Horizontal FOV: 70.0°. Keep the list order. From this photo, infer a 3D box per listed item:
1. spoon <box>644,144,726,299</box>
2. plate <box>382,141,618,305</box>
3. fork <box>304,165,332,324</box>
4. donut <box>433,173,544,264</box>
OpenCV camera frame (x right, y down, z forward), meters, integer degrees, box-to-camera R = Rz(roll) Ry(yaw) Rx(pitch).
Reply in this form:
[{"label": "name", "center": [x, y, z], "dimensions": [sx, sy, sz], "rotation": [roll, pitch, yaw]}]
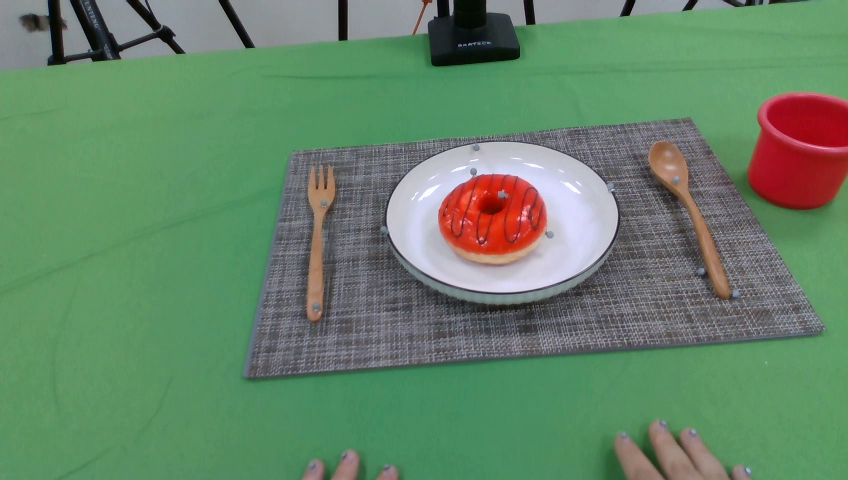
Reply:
[{"label": "spoon", "center": [0.240, -0.024, 0.556], "dimensions": [0.042, 0.022, 0.192], "rotation": [10, 43, -10]}, {"label": "plate", "center": [0.068, -0.016, 0.553], "dimensions": [0.209, 0.038, 0.207], "rotation": [-2, 44, 3]}, {"label": "fork", "center": [-0.102, -0.005, 0.570], "dimensions": [0.028, 0.019, 0.205], "rotation": [-1, 42, -6]}, {"label": "donut", "center": [0.058, -0.020, 0.541], "dimensions": [0.099, 0.049, 0.098], "rotation": [-3, 47, 4]}]
